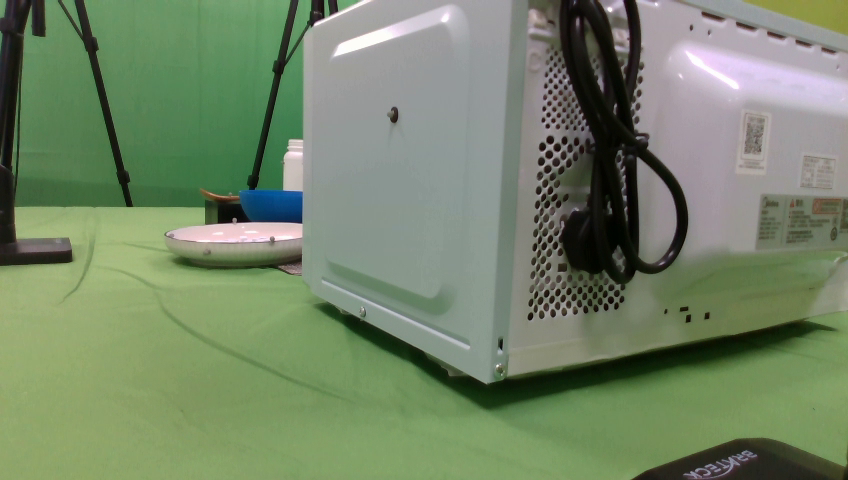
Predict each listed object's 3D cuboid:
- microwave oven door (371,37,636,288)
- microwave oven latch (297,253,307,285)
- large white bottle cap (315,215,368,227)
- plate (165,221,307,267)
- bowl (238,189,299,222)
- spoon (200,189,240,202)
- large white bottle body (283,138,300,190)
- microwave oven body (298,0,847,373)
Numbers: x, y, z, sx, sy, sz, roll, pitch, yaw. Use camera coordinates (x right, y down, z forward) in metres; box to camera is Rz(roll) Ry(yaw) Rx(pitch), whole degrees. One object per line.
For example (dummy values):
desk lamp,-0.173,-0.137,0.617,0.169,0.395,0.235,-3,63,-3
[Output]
microwave oven door,0.109,-0.080,0.686,0.358,0.243,0.039,-2,9,-33
microwave oven latch,-0.082,0.027,0.582,0.079,0.029,0.030,-1,7,-32
large white bottle cap,-0.177,-0.041,1.309,0.115,0.018,0.115,2,7,0
plate,-0.241,0.004,0.829,0.209,0.038,0.209,0,9,0
bowl,-0.245,-0.045,1.052,0.151,0.077,0.151,3,8,0
spoon,-0.338,-0.080,1.190,0.194,0.021,0.041,5,2,-19
large white bottle body,-0.265,-0.144,1.424,0.131,0.184,0.130,2,7,0
microwave oven body,0.151,-0.055,0.542,0.444,0.260,0.324,-2,7,-33
